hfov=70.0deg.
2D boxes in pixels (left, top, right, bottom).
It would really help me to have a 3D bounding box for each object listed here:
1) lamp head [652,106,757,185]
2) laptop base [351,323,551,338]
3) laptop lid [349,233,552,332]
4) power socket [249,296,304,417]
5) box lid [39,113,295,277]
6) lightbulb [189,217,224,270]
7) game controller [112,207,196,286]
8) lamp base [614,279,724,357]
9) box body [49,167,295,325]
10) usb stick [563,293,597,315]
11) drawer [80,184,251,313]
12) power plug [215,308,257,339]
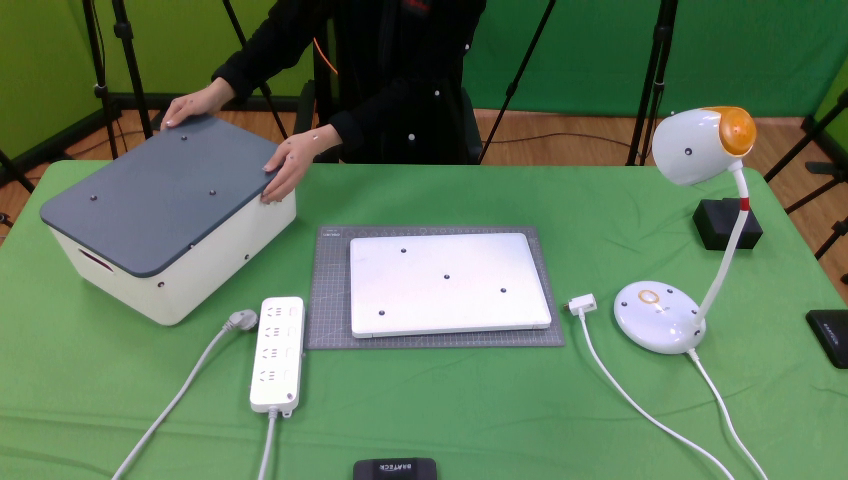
[{"bbox_3d":[0.410,-0.139,0.869,0.113,0.122,0.112,0,89,-19],"label":"lamp head"},{"bbox_3d":[0.039,0.080,1.125,0.355,0.023,0.234,-2,43,-6],"label":"laptop base"},{"bbox_3d":[0.040,0.070,1.119,0.357,0.013,0.240,-1,44,-5],"label":"laptop lid"},{"bbox_3d":[-0.239,0.182,0.996,0.072,0.033,0.225,-2,47,-5],"label":"power socket"},{"bbox_3d":[-0.434,-0.096,1.056,0.262,0.015,0.370,25,48,18],"label":"box lid"},{"bbox_3d":[-0.406,0.007,1.114,0.059,0.060,0.107,8,59,3],"label":"lightbulb"},{"bbox_3d":[-0.465,0.003,1.042,0.097,0.052,0.154,7,47,0],"label":"game controller"},{"bbox_3d":[0.436,0.090,1.035,0.161,0.181,0.178,-23,55,-23],"label":"lamp base"},{"bbox_3d":[-0.437,-0.046,1.110,0.253,0.161,0.363,24,49,19],"label":"box body"},{"bbox_3d":[0.280,0.118,1.093,0.059,0.021,0.027,-18,35,25],"label":"usb stick"},{"bbox_3d":[-0.456,0.009,1.089,0.194,0.073,0.211,26,44,16],"label":"drawer"},{"bbox_3d":[-0.317,0.143,1.024,0.072,0.053,0.035,-32,58,-9],"label":"power plug"}]
